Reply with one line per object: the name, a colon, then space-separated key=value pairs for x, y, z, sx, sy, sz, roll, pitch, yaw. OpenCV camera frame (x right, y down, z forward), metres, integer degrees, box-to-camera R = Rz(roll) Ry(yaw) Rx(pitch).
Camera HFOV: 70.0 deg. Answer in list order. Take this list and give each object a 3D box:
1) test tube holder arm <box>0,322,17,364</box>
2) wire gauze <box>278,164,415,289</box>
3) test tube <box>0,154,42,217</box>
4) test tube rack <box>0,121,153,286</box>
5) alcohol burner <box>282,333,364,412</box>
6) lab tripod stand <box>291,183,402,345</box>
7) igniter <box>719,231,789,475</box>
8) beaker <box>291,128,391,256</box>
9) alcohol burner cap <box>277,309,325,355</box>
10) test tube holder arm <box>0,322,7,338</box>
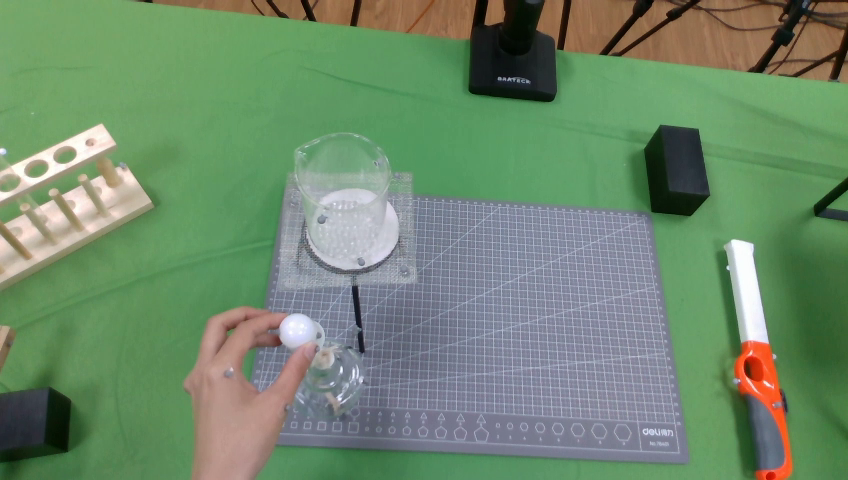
test tube holder arm: x=-0.392 y=0.117 z=0.545 sx=0.010 sy=0.015 sz=0.087 roll=7 pitch=61 yaw=-2
wire gauze: x=-0.071 y=-0.016 z=0.558 sx=0.121 sy=0.011 sz=0.124 roll=-1 pitch=67 yaw=-5
test tube: x=-0.415 y=-0.067 z=0.598 sx=0.017 sy=0.151 sz=0.017 roll=3 pitch=58 yaw=-5
test tube rack: x=-0.423 y=-0.021 z=0.629 sx=0.242 sy=0.086 sz=0.066 roll=-34 pitch=71 yaw=-21
alcohol burner: x=-0.095 y=0.119 z=0.571 sx=0.078 sy=0.120 sz=0.077 roll=3 pitch=61 yaw=-6
lab tripod stand: x=-0.074 y=0.018 z=0.614 sx=0.148 sy=0.132 sz=0.147 roll=3 pitch=63 yaw=-6
igniter: x=0.362 y=0.115 z=0.670 sx=0.057 sy=0.025 sz=0.274 roll=11 pitch=62 yaw=-11
beaker: x=-0.071 y=-0.037 z=0.513 sx=0.084 sy=0.101 sz=0.073 roll=27 pitch=64 yaw=8
alcohol burner cap: x=-0.100 y=0.072 z=0.483 sx=0.034 sy=0.048 sz=0.033 roll=0 pitch=70 yaw=2
test tube holder arm: x=-0.401 y=0.155 z=0.523 sx=0.013 sy=0.015 sz=0.177 roll=6 pitch=61 yaw=-2
